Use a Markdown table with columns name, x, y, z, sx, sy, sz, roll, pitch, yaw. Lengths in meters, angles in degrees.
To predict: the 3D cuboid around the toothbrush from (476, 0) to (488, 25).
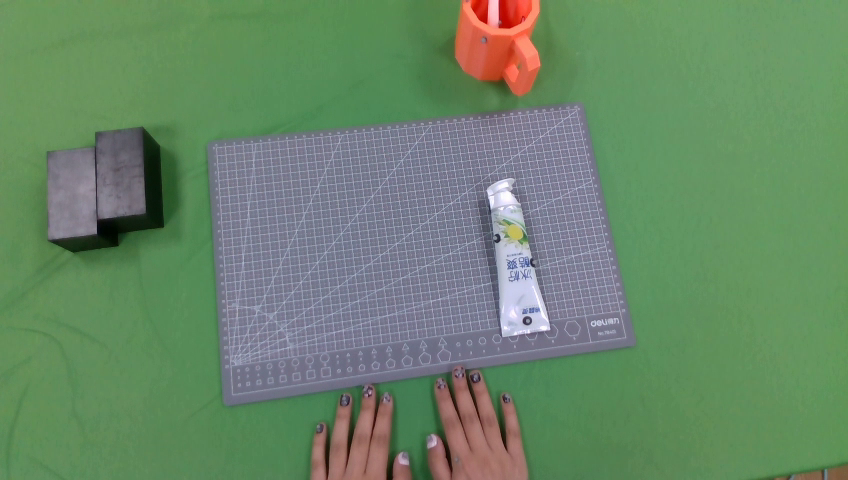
| name | x | y | z | sx | sy | sz | roll | pitch | yaw |
| --- | --- | --- | --- | --- | --- | --- | --- | --- | --- |
| toothbrush | 0.069 | -0.281 | 0.675 | 0.014 | 0.183 | 0.016 | -16 | 41 | -23 |

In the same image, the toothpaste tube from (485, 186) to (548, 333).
| name | x | y | z | sx | sy | sz | roll | pitch | yaw |
| --- | --- | --- | --- | --- | --- | --- | --- | --- | --- |
| toothpaste tube | 0.096 | 0.019 | 0.679 | 0.055 | 0.034 | 0.164 | -10 | 81 | 2 |

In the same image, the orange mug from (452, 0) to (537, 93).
| name | x | y | z | sx | sy | sz | roll | pitch | yaw |
| --- | --- | --- | --- | --- | --- | --- | --- | --- | --- |
| orange mug | 0.087 | -0.238 | 0.707 | 0.083 | 0.101 | 0.125 | -29 | 75 | -10 |

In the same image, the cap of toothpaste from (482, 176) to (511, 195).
| name | x | y | z | sx | sy | sz | roll | pitch | yaw |
| --- | --- | --- | --- | --- | --- | --- | --- | --- | --- |
| cap of toothpaste | 0.084 | -0.061 | 0.691 | 0.037 | 0.037 | 0.011 | -20 | 75 | -8 |
